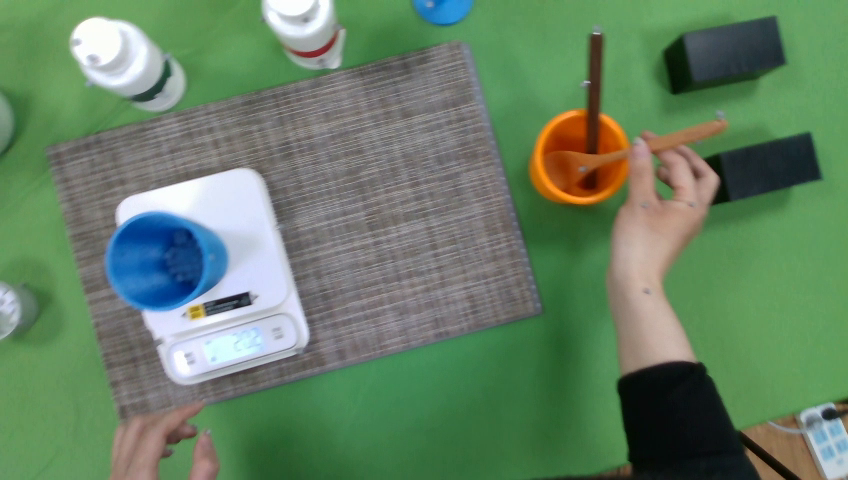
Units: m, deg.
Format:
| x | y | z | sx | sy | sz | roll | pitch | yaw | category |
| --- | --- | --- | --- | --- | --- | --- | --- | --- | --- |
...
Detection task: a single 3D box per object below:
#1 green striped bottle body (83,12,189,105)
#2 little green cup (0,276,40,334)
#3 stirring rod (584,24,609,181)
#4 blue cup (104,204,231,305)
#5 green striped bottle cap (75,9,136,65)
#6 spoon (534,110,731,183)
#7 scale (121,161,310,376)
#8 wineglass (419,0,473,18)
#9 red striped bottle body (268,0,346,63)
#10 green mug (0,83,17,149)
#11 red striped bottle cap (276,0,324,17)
| x | y | z | sx | sy | sz | roll | pitch | yaw | category |
| --- | --- | --- | --- | --- | --- | --- | --- | --- | --- |
| -0.276 | -0.173 | 0.578 | 0.063 | 0.119 | 0.063 | 0 | 89 | -2 | green striped bottle body |
| -0.425 | 0.064 | 0.611 | 0.061 | 0.038 | 0.061 | 0 | 89 | -3 | little green cup |
| 0.163 | -0.123 | 0.578 | 0.014 | 0.178 | 0.005 | 0 | 48 | 12 | stirring rod |
| -0.220 | 0.011 | 0.553 | 0.093 | 0.100 | 0.092 | 0 | 91 | -2 | blue cup |
| -0.274 | -0.175 | 0.522 | 0.044 | 0.020 | 0.044 | 0 | 89 | 0 | green striped bottle cap |
| 0.189 | -0.089 | 0.575 | 0.021 | 0.193 | 0.042 | -29 | 103 | -42 | spoon |
| -0.211 | 0.030 | 0.618 | 0.149 | 0.031 | 0.201 | -16 | 90 | -2 | scale |
| 0.025 | -0.271 | 0.562 | 0.074 | 0.172 | 0.073 | 0 | 89 | -1 | wineglass |
| -0.112 | -0.219 | 0.584 | 0.063 | 0.119 | 0.063 | 0 | 89 | -2 | red striped bottle body |
| -0.468 | -0.113 | 0.578 | 0.092 | 0.105 | 0.125 | 20 | 89 | -1 | green mug |
| -0.110 | -0.220 | 0.530 | 0.044 | 0.018 | 0.044 | 0 | 86 | -1 | red striped bottle cap |
